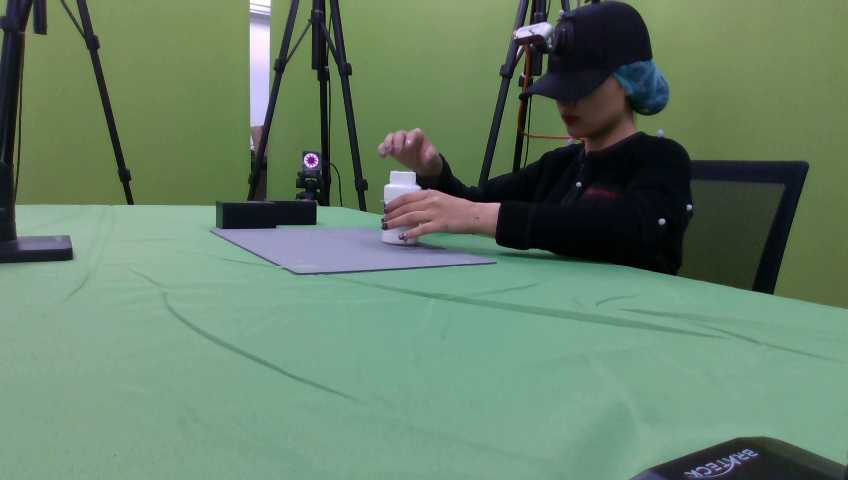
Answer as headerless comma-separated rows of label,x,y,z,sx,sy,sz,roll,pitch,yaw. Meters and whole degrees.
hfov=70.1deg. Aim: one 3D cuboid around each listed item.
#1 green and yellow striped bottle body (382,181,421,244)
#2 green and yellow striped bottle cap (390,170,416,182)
green and yellow striped bottle body,-0.038,-0.055,1.018,0.063,0.119,0.063,3,7,0
green and yellow striped bottle cap,-0.036,-0.107,1.013,0.045,0.020,0.045,3,8,0
